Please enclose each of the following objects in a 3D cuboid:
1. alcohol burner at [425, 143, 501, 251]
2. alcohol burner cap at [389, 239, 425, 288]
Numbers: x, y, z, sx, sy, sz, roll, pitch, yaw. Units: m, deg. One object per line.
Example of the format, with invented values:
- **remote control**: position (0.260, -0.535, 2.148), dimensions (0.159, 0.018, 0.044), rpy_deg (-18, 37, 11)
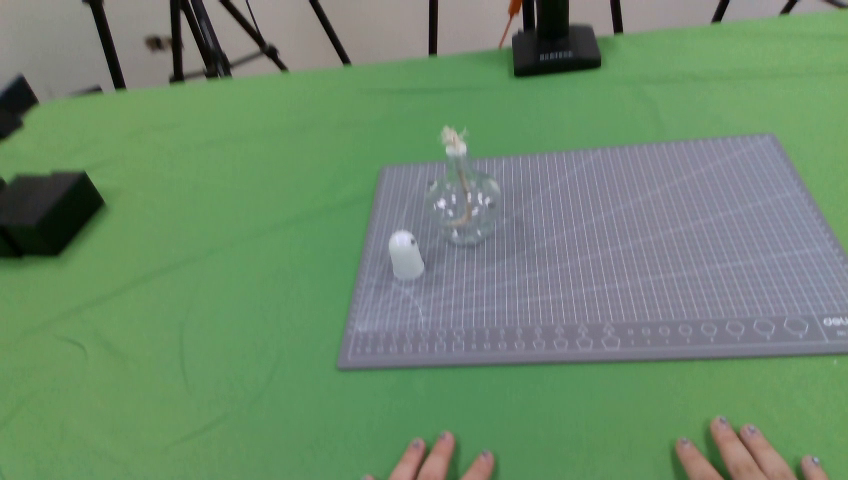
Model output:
- **alcohol burner**: position (0.038, -0.047, 0.603), dimensions (0.078, 0.120, 0.077), rpy_deg (-5, 42, 5)
- **alcohol burner cap**: position (-0.018, 0.020, 0.596), dimensions (0.034, 0.048, 0.033), rpy_deg (-7, 42, 6)
